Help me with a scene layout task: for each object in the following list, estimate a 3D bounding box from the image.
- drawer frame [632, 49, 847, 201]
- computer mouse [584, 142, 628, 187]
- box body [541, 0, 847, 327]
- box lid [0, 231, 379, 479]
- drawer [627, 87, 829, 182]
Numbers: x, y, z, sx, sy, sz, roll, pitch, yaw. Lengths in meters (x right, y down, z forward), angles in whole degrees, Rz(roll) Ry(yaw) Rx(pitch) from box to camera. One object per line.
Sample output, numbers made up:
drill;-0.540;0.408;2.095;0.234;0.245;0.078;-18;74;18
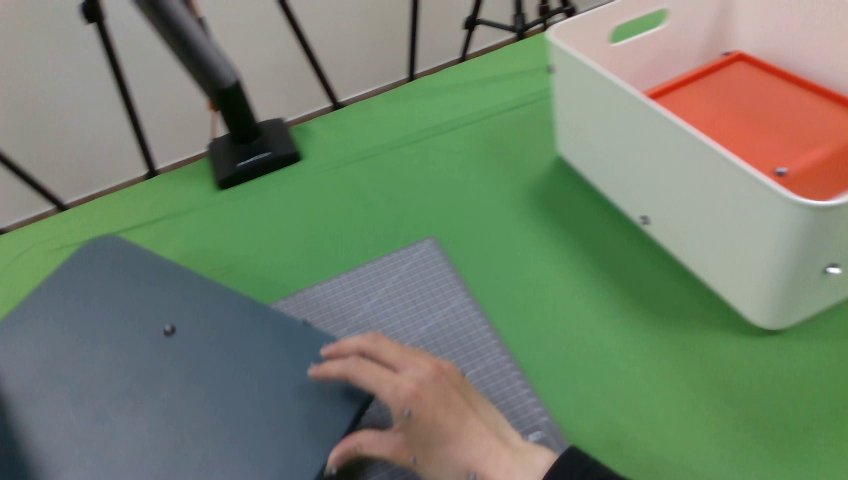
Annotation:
drawer frame;0.305;-0.097;0.628;0.214;0.083;0.199;-26;44;-14
computer mouse;0.222;-0.079;0.607;0.116;0.041;0.062;17;47;21
box body;0.313;-0.114;0.593;0.254;0.162;0.359;-24;43;-10
box lid;-0.243;0.140;0.497;0.369;0.015;0.262;20;60;25
drawer;0.312;-0.107;0.626;0.212;0.074;0.192;-15;35;-25
